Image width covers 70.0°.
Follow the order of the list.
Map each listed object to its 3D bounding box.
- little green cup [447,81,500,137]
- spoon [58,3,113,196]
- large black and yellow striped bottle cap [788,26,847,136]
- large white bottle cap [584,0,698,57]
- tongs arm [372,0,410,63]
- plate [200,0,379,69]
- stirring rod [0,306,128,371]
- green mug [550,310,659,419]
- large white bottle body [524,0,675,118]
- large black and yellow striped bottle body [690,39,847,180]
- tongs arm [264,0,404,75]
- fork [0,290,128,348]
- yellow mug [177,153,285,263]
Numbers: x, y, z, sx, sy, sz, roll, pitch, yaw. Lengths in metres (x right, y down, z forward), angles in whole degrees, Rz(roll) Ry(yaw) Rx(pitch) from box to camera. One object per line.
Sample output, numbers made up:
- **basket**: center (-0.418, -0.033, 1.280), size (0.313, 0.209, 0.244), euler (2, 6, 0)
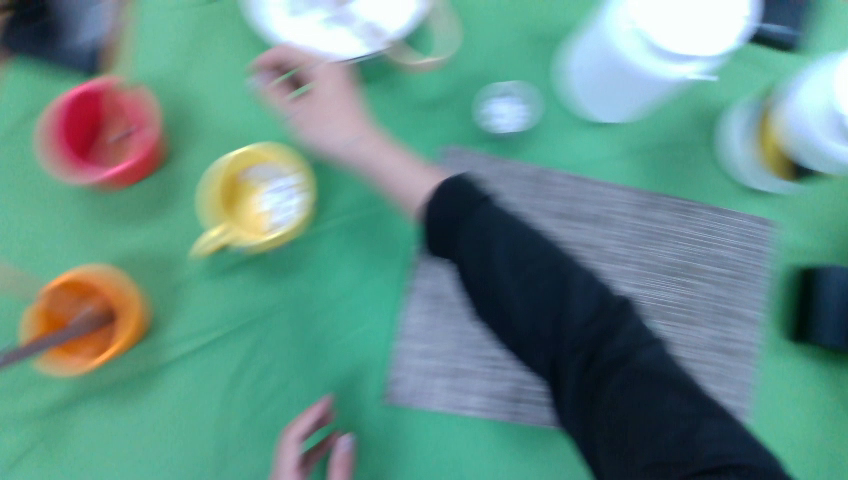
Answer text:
- **little green cup**: center (0.057, -0.153, 0.720), size (0.062, 0.038, 0.061), euler (1, 83, -9)
- **spoon**: center (-0.334, -0.130, 0.590), size (0.042, 0.021, 0.195), euler (5, 127, -11)
- **large black and yellow striped bottle cap**: center (0.435, -0.166, 0.631), size (0.115, 0.019, 0.114), euler (1, 83, -11)
- **large white bottle cap**: center (0.215, -0.239, 0.599), size (0.115, 0.018, 0.114), euler (1, 83, -10)
- **tongs arm**: center (-0.133, -0.359, 0.681), size (0.028, 0.028, 0.387), euler (-38, 88, -19)
- **plate**: center (-0.152, -0.293, 0.700), size (0.208, 0.039, 0.207), euler (1, 83, -10)
- **stirring rod**: center (-0.356, 0.099, 0.561), size (0.014, 0.006, 0.176), euler (59, 35, 1)
- **green mug**: center (0.204, 0.136, 0.672), size (0.093, 0.105, 0.125), euler (26, 79, -5)
- **large white bottle body**: center (0.200, -0.228, 0.681), size (0.131, 0.184, 0.130), euler (1, 82, -9)
- **large black and yellow striped bottle body**: center (0.421, -0.152, 0.712), size (0.131, 0.184, 0.130), euler (1, 82, -9)
- **tongs arm**: center (-0.189, -0.299, 0.662), size (0.385, 0.026, 0.050), euler (38, 75, -2)
- **fork**: center (-0.371, 0.058, 0.558), size (0.209, 0.018, 0.028), euler (39, 70, -47)
- **yellow mug**: center (-0.210, -0.025, 0.640), size (0.100, 0.064, 0.130), euler (42, 79, -3)
